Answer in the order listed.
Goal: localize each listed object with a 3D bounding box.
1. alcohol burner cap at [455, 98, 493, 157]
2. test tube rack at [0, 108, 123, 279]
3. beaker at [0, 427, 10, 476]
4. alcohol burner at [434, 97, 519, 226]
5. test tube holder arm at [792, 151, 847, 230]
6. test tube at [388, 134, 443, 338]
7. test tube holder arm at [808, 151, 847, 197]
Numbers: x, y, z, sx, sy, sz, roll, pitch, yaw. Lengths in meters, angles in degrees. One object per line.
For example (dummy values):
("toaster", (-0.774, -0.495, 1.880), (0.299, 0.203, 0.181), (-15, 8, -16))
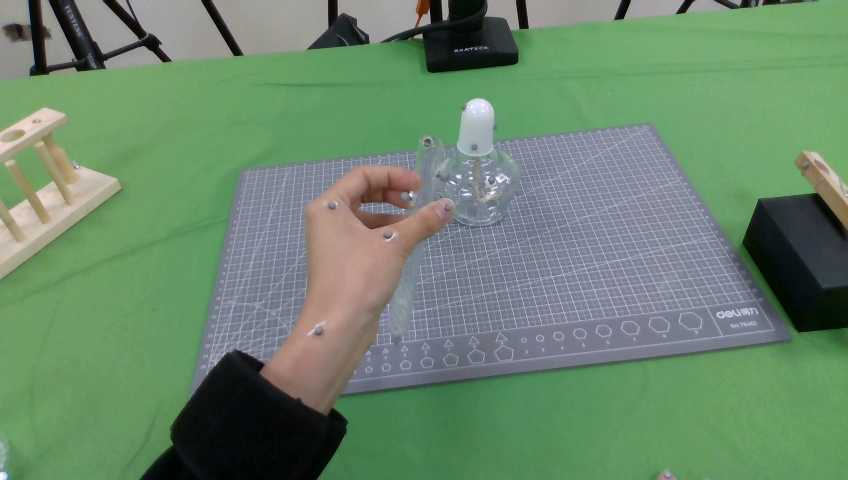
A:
("alcohol burner cap", (0.044, -0.098, 0.517), (0.034, 0.048, 0.033), (1, 43, -1))
("test tube rack", (-0.410, -0.019, 0.555), (0.066, 0.086, 0.241), (18, 48, 23))
("beaker", (-0.326, 0.127, 0.384), (0.084, 0.101, 0.073), (-24, 46, -17))
("alcohol burner", (0.047, -0.072, 0.542), (0.078, 0.120, 0.077), (-3, 42, 3))
("test tube holder arm", (0.322, -0.041, 0.485), (0.010, 0.015, 0.087), (0, 44, -5))
("test tube", (-0.008, 0.003, 0.401), (0.017, 0.151, 0.017), (8, 28, -4))
("test tube holder arm", (0.330, -0.010, 0.453), (0.013, 0.015, 0.176), (0, 44, -6))
